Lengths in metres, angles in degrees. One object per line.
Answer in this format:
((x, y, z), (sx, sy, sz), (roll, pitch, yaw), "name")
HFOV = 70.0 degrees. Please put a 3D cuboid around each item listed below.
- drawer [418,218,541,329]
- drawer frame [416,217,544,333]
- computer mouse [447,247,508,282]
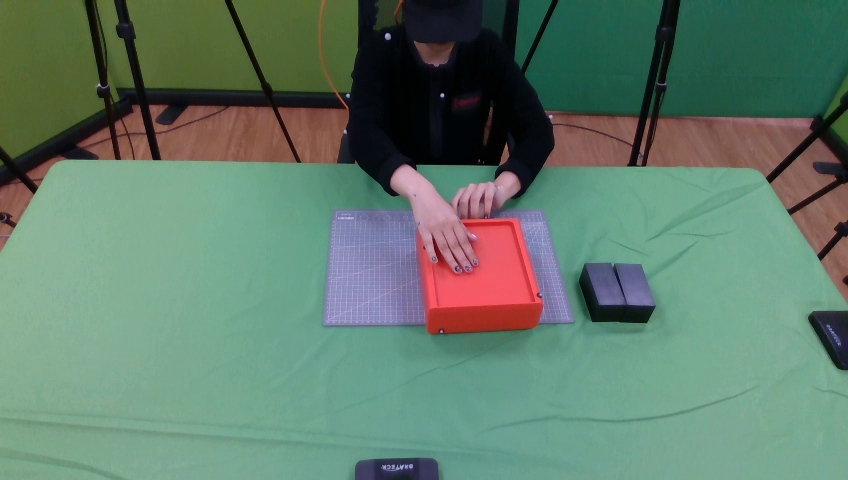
((0.094, 0.057, 1.107), (0.195, 0.073, 0.210), (-1, 47, -6), "drawer")
((0.094, 0.058, 1.104), (0.202, 0.083, 0.212), (-2, 47, -7), "drawer frame")
((0.101, 0.046, 1.135), (0.117, 0.041, 0.062), (4, 43, -9), "computer mouse")
